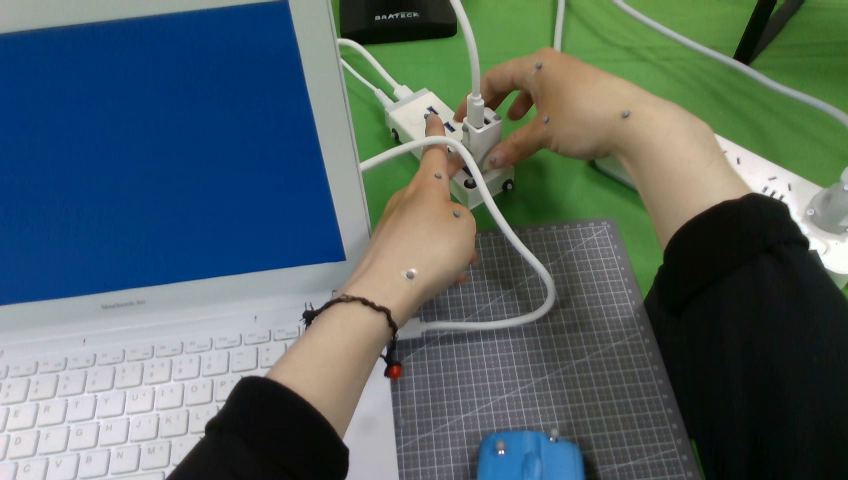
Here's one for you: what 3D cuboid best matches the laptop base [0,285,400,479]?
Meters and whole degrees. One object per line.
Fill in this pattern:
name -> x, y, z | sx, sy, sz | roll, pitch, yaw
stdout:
laptop base -> -0.190, 0.152, 0.370 | 0.354, 0.023, 0.233 | -7, 58, -2

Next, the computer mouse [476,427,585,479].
computer mouse -> 0.058, 0.160, 0.338 | 0.062, 0.041, 0.116 | 4, 51, 9

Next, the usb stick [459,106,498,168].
usb stick -> 0.043, -0.077, 0.479 | 0.027, 0.059, 0.021 | -40, 70, -14

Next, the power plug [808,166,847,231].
power plug -> 0.312, -0.033, 0.441 | 0.072, 0.053, 0.035 | -34, 59, -17

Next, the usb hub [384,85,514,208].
usb hub -> 0.019, -0.083, 0.521 | 0.049, 0.025, 0.124 | -31, 59, -18

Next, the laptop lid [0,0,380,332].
laptop lid -> -0.214, -0.033, 0.358 | 0.357, 0.244, 0.013 | -8, 42, -1

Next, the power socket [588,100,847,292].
power socket -> 0.240, -0.041, 0.478 | 0.225, 0.033, 0.072 | 36, 63, 25
